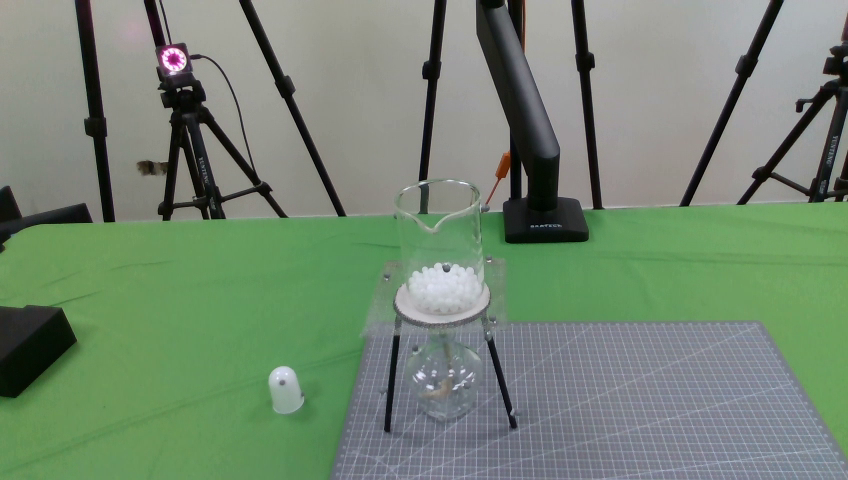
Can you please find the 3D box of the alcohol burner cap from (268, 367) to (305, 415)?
[{"bbox_3d":[-0.142,0.151,0.620,0.034,0.048,0.033,-3,32,2],"label":"alcohol burner cap"}]

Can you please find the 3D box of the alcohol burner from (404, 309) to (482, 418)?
[{"bbox_3d":[0.018,0.114,0.584,0.078,0.120,0.077,-2,32,2],"label":"alcohol burner"}]

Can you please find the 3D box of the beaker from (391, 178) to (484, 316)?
[{"bbox_3d":[0.014,0.009,0.517,0.074,0.101,0.083,-2,30,9],"label":"beaker"}]

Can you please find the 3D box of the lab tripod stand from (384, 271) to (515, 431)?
[{"bbox_3d":[0.019,0.105,0.580,0.148,0.132,0.147,-5,29,3],"label":"lab tripod stand"}]

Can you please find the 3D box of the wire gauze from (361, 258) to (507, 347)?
[{"bbox_3d":[0.013,0.050,0.543,0.121,0.011,0.124,-3,31,8],"label":"wire gauze"}]
